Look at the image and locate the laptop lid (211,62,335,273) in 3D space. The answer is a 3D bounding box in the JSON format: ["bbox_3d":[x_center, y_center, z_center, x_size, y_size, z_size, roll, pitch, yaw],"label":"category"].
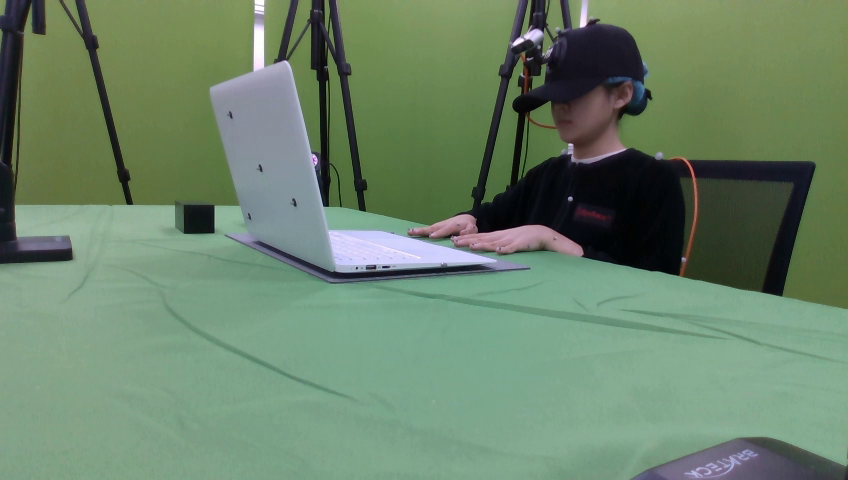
[{"bbox_3d":[-0.211,-0.095,0.791,0.013,0.241,0.355,-18,18,-29],"label":"laptop lid"}]

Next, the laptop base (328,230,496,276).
[{"bbox_3d":[-0.091,0.016,0.884,0.237,0.023,0.352,2,6,-32],"label":"laptop base"}]

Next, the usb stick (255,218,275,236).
[{"bbox_3d":[-0.262,-0.021,1.003,0.021,0.027,0.059,0,10,-32],"label":"usb stick"}]
